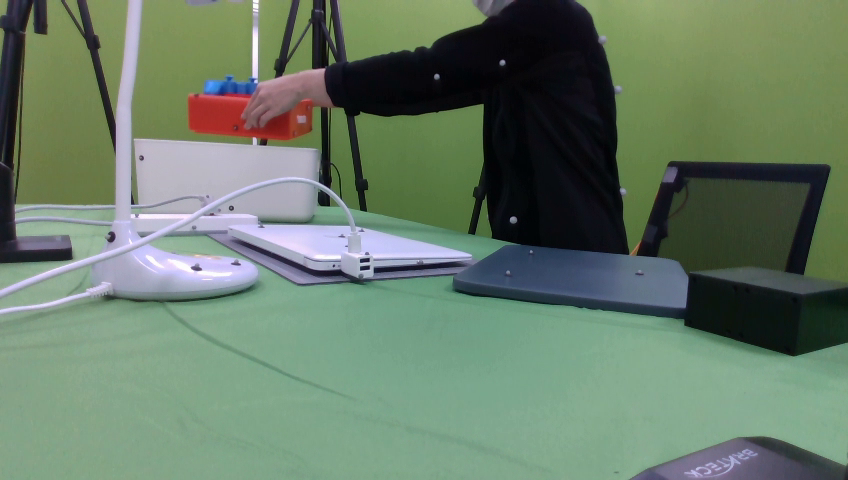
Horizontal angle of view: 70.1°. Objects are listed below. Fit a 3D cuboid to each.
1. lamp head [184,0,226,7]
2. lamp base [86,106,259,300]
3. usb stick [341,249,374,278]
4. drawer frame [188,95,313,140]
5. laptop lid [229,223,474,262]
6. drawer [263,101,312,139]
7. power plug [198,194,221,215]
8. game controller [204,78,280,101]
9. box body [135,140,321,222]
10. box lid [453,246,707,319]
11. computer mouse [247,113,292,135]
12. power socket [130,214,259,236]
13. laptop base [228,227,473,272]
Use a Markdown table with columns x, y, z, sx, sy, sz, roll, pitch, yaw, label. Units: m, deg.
| x | y | z | sx | sy | sz | roll | pitch | yaw | label |
| --- | --- | --- | --- | --- | --- | --- | --- | --- | --- |
| -0.229 | -0.320 | 0.627 | 0.112 | 0.112 | 0.123 | 6 | -35 | 26 | lamp head |
| -0.254 | -0.039 | 0.603 | 0.160 | 0.180 | 0.179 | 5 | 10 | 18 | lamp base |
| -0.079 | 0.026 | 0.686 | 0.021 | 0.027 | 0.059 | -7 | 9 | -31 | usb stick |
| -0.371 | -0.274 | 1.329 | 0.214 | 0.082 | 0.201 | 4 | 15 | 2 | drawer frame |
| -0.121 | 0.000 | 0.888 | 0.243 | 0.013 | 0.355 | 1 | 7 | -33 | laptop lid |
| -0.369 | -0.273 | 1.330 | 0.212 | 0.073 | 0.194 | 4 | 16 | 2 | drawer |
| -0.386 | -0.055 | 1.088 | 0.035 | 0.052 | 0.072 | -2 | 7 | -23 | power plug |
| -0.397 | -0.324 | 1.312 | 0.156 | 0.051 | 0.096 | -2 | 12 | -23 | game controller |
| -0.420 | -0.133 | 1.354 | 0.365 | 0.160 | 0.253 | 2 | 7 | -8 | box body |
| 0.204 | 0.044 | 0.780 | 0.262 | 0.015 | 0.372 | 5 | 7 | 17 | box lid |
| -0.337 | -0.255 | 1.327 | 0.063 | 0.041 | 0.117 | 9 | 19 | 9 | computer mouse |
| -0.397 | -0.028 | 1.048 | 0.228 | 0.032 | 0.072 | -3 | 7 | -35 | power socket |
| -0.124 | 0.011 | 0.889 | 0.237 | 0.023 | 0.352 | 2 | 6 | -35 | laptop base |
